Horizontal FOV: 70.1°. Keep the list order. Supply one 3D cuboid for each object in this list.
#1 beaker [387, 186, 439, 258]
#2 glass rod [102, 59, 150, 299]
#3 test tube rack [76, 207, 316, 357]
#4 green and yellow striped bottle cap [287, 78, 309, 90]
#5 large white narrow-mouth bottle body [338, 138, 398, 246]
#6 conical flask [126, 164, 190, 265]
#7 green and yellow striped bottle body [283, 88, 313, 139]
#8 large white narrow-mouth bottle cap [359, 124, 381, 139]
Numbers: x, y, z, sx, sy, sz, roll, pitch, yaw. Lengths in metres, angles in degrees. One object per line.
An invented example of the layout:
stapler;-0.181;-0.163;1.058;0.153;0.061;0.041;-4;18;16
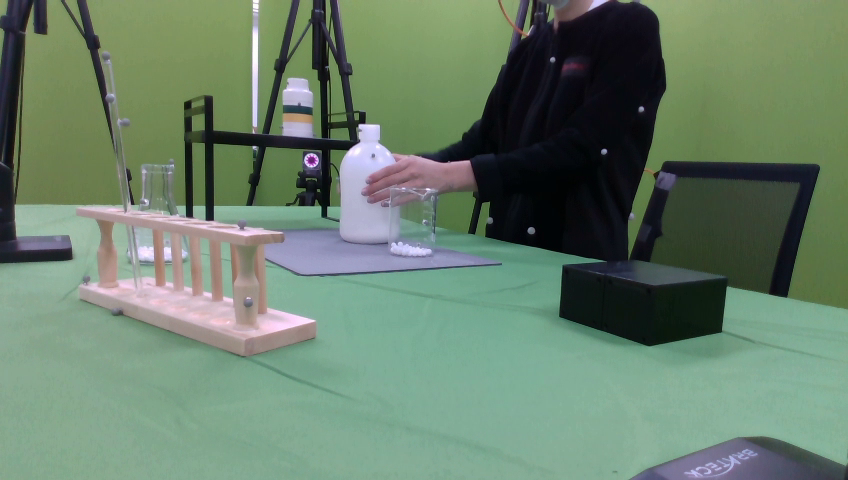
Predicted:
beaker;-0.015;-0.027;0.885;0.074;0.100;0.083;-1;8;-20
glass rod;-0.243;-0.045;0.496;0.008;0.199;0.008;-4;13;1
test tube rack;-0.196;0.023;0.500;0.241;0.085;0.067;8;9;36
green and yellow striped bottle cap;-0.265;-0.326;1.268;0.045;0.020;0.045;4;6;0
large white narrow-mouth bottle body;-0.092;-0.094;1.009;0.102;0.194;0.101;3;11;0
conical flask;-0.332;-0.033;0.756;0.075;0.122;0.075;2;7;0
green and yellow striped bottle body;-0.266;-0.275;1.275;0.063;0.119;0.063;3;7;0
large white narrow-mouth bottle cap;-0.088;-0.177;0.991;0.038;0.024;0.037;3;11;0
